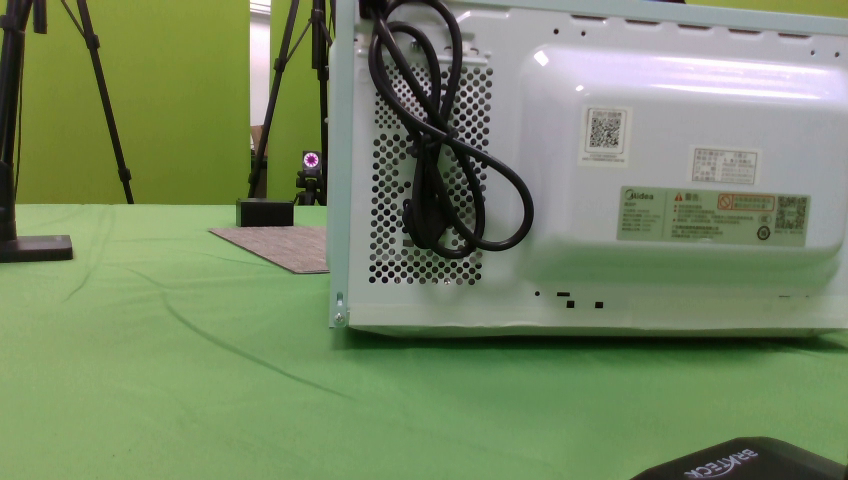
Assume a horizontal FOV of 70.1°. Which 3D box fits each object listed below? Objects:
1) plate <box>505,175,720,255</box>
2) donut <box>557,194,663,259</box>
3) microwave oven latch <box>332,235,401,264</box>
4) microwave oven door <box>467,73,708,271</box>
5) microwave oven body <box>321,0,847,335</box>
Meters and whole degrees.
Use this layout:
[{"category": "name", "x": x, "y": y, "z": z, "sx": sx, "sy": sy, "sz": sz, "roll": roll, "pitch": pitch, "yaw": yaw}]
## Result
[{"category": "plate", "x": 0.184, "y": -0.026, "z": 0.615, "sx": 0.209, "sy": 0.038, "sz": 0.209, "roll": 6, "pitch": 17, "yaw": -1}, {"category": "donut", "x": 0.174, "y": -0.013, "z": 0.571, "sx": 0.099, "sy": 0.048, "sz": 0.099, "roll": -17, "pitch": 2, "yaw": 1}, {"category": "microwave oven latch", "x": -0.066, "y": 0.010, "z": 0.701, "sx": 0.079, "sy": 0.029, "sz": 0.030, "roll": 2, "pitch": 7, "yaw": -8}, {"category": "microwave oven door", "x": 0.208, "y": -0.101, "z": 0.860, "sx": 0.039, "sy": 0.243, "sz": 0.354, "roll": -5, "pitch": 10, "yaw": -44}, {"category": "microwave oven body", "x": 0.133, "y": -0.062, "z": 0.568, "sx": 0.443, "sy": 0.260, "sz": 0.325, "roll": 2, "pitch": 6, "yaw": -8}]
